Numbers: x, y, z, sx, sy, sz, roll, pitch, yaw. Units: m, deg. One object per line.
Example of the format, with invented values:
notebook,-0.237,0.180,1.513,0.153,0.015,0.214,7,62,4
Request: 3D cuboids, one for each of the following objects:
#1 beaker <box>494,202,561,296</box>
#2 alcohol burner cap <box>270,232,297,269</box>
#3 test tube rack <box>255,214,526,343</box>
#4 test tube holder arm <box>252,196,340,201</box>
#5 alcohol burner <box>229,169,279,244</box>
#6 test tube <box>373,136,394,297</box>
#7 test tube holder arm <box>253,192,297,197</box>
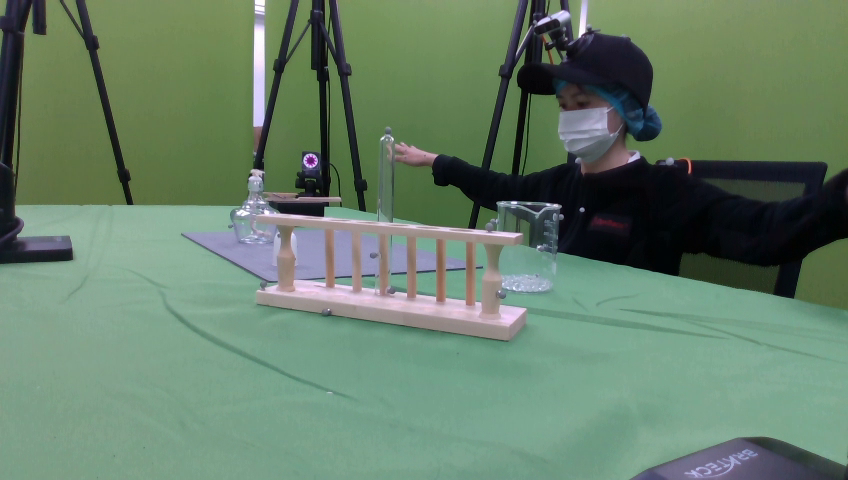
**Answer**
beaker,0.116,0.009,0.687,0.074,0.100,0.084,2,8,-4
alcohol burner cap,-0.175,0.012,0.760,0.034,0.048,0.034,2,8,0
test tube rack,-0.032,0.027,0.546,0.241,0.085,0.067,5,7,21
test tube holder arm,-0.260,-0.086,1.242,0.179,0.013,0.015,-1,7,-25
alcohol burner,-0.268,-0.053,0.958,0.078,0.119,0.078,2,5,0
test tube,-0.038,-0.021,0.564,0.017,0.150,0.017,2,6,0
test tube holder arm,-0.301,-0.092,1.223,0.088,0.010,0.015,0,7,-25
